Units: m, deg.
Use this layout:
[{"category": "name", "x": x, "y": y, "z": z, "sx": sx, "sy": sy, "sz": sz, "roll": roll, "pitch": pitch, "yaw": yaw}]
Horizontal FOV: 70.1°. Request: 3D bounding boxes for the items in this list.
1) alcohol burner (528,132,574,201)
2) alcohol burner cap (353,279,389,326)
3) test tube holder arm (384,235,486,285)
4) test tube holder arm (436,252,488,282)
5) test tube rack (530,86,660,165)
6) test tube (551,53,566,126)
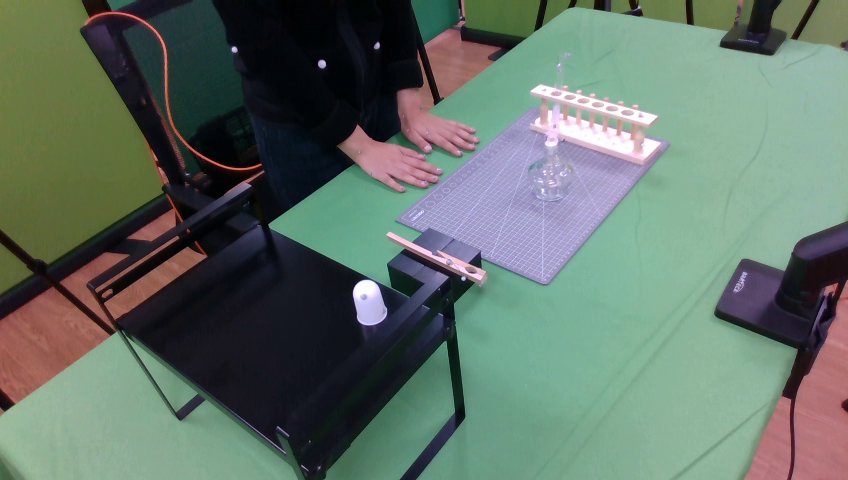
[{"category": "alcohol burner", "x": 0.214, "y": -0.126, "z": 1.016, "sx": 0.078, "sy": 0.119, "sz": 0.077, "roll": -5, "pitch": 38, "yaw": 5}, {"category": "alcohol burner cap", "x": -0.055, "y": 0.061, "z": 0.616, "sx": 0.034, "sy": 0.048, "sz": 0.033, "roll": -4, "pitch": 41, "yaw": 4}, {"category": "test tube holder arm", "x": 0.012, "y": 0.027, "z": 0.871, "sx": 0.177, "sy": 0.015, "sz": 0.013, "roll": 21, "pitch": 53, "yaw": 30}, {"category": "test tube holder arm", "x": 0.051, "y": 0.037, "z": 0.852, "sx": 0.087, "sy": 0.015, "sz": 0.010, "roll": 22, "pitch": 53, "yaw": 30}, {"category": "test tube rack", "x": 0.320, "y": -0.226, "z": 1.140, "sx": 0.240, "sy": 0.085, "sz": 0.067, "roll": 27, "pitch": 51, "yaw": 34}, {"category": "test tube", "x": 0.252, "y": -0.280, "z": 1.138, "sx": 0.017, "sy": 0.151, "sz": 0.017, "roll": -3, "pitch": 44, "yaw": 3}]
